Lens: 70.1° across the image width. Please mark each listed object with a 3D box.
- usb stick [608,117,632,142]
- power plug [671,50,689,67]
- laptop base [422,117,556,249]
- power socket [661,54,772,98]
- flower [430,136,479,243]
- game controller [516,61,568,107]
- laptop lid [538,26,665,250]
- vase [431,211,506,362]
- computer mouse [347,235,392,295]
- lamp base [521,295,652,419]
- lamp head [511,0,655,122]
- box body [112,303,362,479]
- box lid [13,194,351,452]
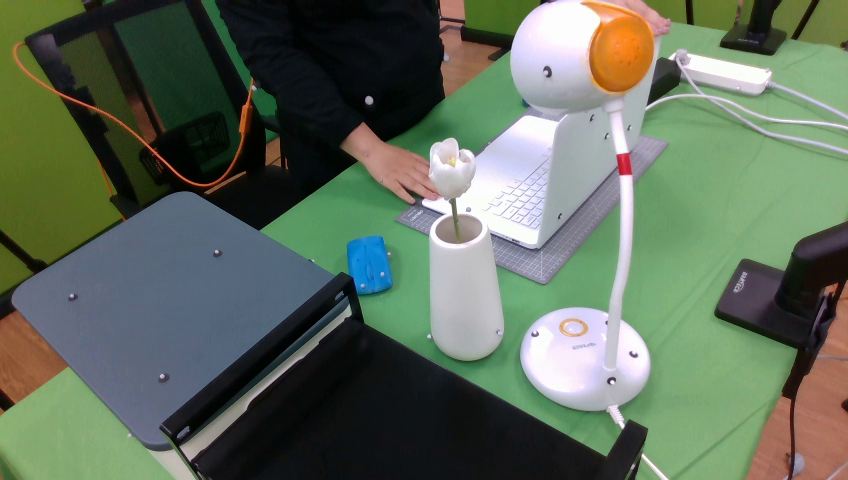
[{"bbox_3d":[0.370,-0.207,1.147,0.021,0.027,0.059,27,55,32],"label":"usb stick"},{"bbox_3d":[0.540,-0.379,1.302,0.073,0.053,0.035,-31,46,-22],"label":"power plug"},{"bbox_3d":[0.192,-0.116,1.087,0.233,0.023,0.355,21,47,34],"label":"laptop base"},{"bbox_3d":[0.618,-0.353,1.289,0.225,0.033,0.072,27,51,33],"label":"power socket"},{"bbox_3d":[0.041,0.011,0.691,0.044,0.363,0.038,16,62,14],"label":"flower"},{"bbox_3d":[0.259,-0.352,1.336,0.097,0.052,0.154,-3,41,2],"label":"game controller"},{"bbox_3d":[0.281,-0.163,0.943,0.013,0.242,0.358,27,50,27],"label":"laptop lid"},{"bbox_3d":[0.054,0.062,0.757,0.098,0.201,0.097,-3,40,3],"label":"vase"},{"bbox_3d":[-0.086,0.035,0.936,0.063,0.041,0.116,-8,45,-5],"label":"computer mouse"},{"bbox_3d":[0.200,0.095,0.710,0.161,0.181,0.177,-16,43,-10],"label":"lamp base"},{"bbox_3d":[0.155,-0.168,0.564,0.113,0.113,0.122,-18,23,-12],"label":"lamp head"},{"bbox_3d":[-0.285,0.123,0.766,0.361,0.161,0.255,25,49,33],"label":"box body"},{"bbox_3d":[-0.292,0.067,0.717,0.368,0.015,0.264,25,50,33],"label":"box lid"}]
